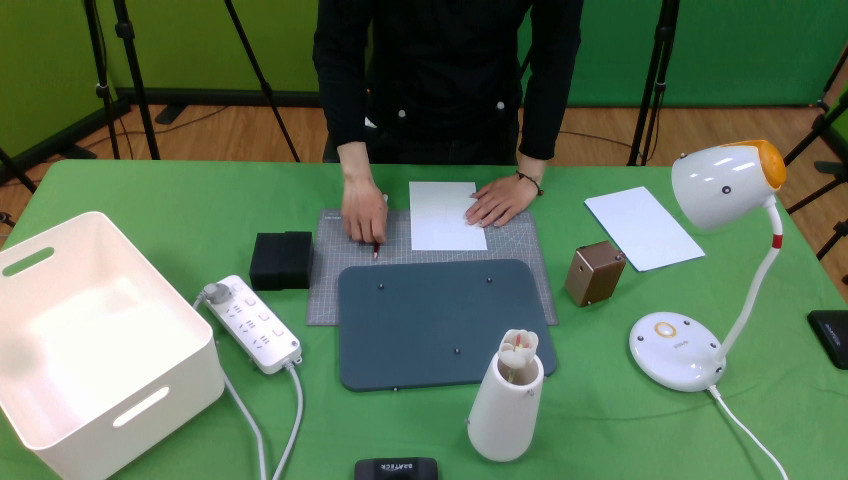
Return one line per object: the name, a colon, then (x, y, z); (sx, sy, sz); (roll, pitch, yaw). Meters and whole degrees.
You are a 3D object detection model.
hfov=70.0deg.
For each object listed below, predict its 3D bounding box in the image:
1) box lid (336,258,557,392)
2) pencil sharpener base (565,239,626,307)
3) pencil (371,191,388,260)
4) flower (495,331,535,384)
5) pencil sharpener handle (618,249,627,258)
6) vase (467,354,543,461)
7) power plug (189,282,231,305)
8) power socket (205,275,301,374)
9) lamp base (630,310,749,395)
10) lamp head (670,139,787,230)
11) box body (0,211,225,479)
box lid: (0.030, 0.140, 1.073); (0.372, 0.015, 0.261); (-3, 47, -7)
pencil sharpener base: (0.313, 0.060, 1.104); (0.077, 0.107, 0.061); (-15, 49, -18)
pencil: (-0.091, -0.032, 1.227); (0.012, 0.012, 0.193); (6, 48, 2)
flower: (0.110, 0.187, 0.791); (0.044, 0.363, 0.038); (-32, 65, -10)
pencil sharpener handle: (0.359, 0.036, 1.113); (0.031, 0.068, 0.036); (-15, 61, -18)
vase: (0.116, 0.234, 0.861); (0.098, 0.201, 0.097); (1, 47, -1)
power plug: (-0.368, 0.097, 1.039); (0.072, 0.053, 0.035); (-26, 55, -20)
power socket: (-0.296, 0.140, 1.035); (0.072, 0.033, 0.225); (-32, 57, -29)
lamp base: (0.447, 0.142, 0.984); (0.161, 0.181, 0.178); (-24, 55, -24)
lamp head: (0.415, -0.079, 0.812); (0.113, 0.123, 0.112); (13, 70, -37)
box body: (-0.504, 0.154, 0.916); (0.362, 0.161, 0.254); (36, 54, 27)
